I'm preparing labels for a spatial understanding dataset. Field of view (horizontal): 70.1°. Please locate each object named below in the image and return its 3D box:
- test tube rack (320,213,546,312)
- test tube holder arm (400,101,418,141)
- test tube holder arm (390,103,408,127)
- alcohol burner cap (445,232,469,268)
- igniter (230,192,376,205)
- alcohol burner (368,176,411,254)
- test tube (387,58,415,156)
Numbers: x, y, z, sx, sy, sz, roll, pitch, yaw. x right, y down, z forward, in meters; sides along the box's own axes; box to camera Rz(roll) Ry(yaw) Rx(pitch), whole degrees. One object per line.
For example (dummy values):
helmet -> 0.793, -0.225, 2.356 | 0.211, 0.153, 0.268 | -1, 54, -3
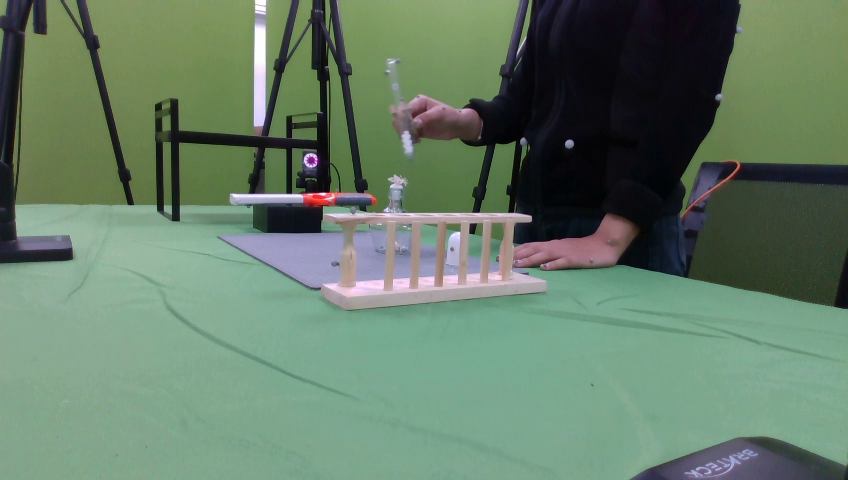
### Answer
test tube rack -> 0.018, 0.017, 0.638 | 0.244, 0.085, 0.066 | -2, 9, -31
test tube holder arm -> -0.022, -0.189, 0.977 | 0.013, 0.015, 0.178 | -12, -7, 5
test tube holder arm -> -0.034, -0.191, 0.933 | 0.010, 0.015, 0.088 | -13, -7, 13
alcohol burner cap -> 0.045, 0.013, 0.829 | 0.034, 0.048, 0.034 | 2, 8, 0
igniter -> -0.226, -0.079, 1.161 | 0.278, 0.025, 0.057 | -2, 15, -28
alcohol burner -> -0.045, -0.038, 0.912 | 0.078, 0.119, 0.078 | 5, 7, 0
test tube -> -0.035, -0.200, 0.911 | 0.017, 0.150, 0.017 | -11, -4, 0
